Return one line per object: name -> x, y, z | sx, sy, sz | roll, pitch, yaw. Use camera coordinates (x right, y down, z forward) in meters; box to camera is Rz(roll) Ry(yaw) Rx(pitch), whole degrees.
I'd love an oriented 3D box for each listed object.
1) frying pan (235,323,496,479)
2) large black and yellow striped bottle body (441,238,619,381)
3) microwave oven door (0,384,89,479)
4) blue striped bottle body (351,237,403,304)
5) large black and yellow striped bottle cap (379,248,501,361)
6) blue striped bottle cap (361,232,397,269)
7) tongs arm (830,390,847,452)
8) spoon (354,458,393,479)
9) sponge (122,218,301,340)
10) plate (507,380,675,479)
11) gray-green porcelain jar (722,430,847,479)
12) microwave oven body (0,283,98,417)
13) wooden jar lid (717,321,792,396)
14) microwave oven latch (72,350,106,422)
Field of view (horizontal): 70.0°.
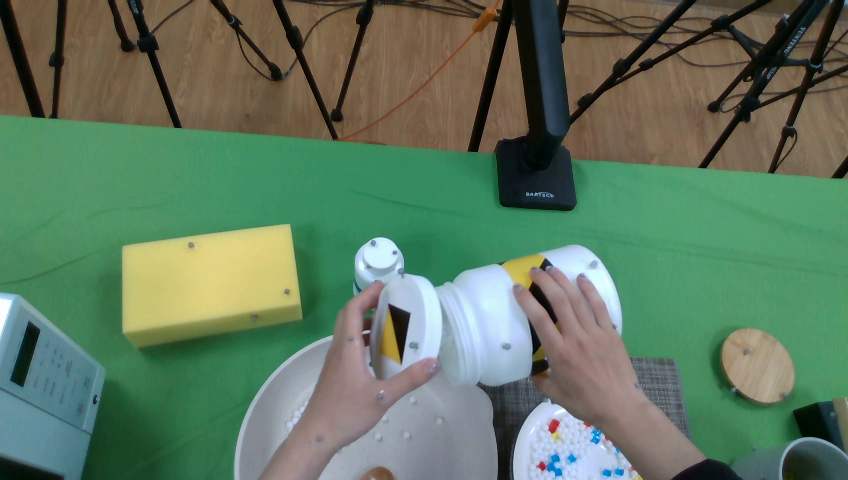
frying pan -> -0.023, 0.324, 0.656 | 0.307, 0.103, 0.483 | -18, 60, -16
large black and yellow striped bottle body -> 0.104, 0.079, 0.672 | 0.184, 0.131, 0.129 | -14, 66, -12
microwave oven door -> -0.383, 0.316, 0.509 | 0.039, 0.245, 0.353 | 4, 63, -7
blue striped bottle body -> -0.062, 0.035, 0.788 | 0.063, 0.121, 0.062 | 4, 63, -7
large black and yellow striped bottle cap -> 0.015, 0.059, 0.563 | 0.115, 0.019, 0.114 | 9, 53, -12
blue striped bottle cap -> -0.055, 0.012, 0.742 | 0.044, 0.021, 0.044 | 3, 60, -5
tongs arm -> 0.565, 0.376, 0.732 | 0.051, 0.026, 0.382 | -1, 74, -11
spoon -> -0.098, 0.309, 0.659 | 0.041, 0.022, 0.193 | 43, 39, 10
sponge -> -0.270, 0.049, 0.782 | 0.207, 0.061, 0.117 | -9, 66, -14
plate -> 0.203, 0.280, 0.750 | 0.209, 0.038, 0.207 | 3, 64, -6
gray-green porcelain jar -> 0.437, 0.294, 0.734 | 0.106, 0.127, 0.105 | 4, 63, -7
microwave oven body -> -0.527, 0.271, 0.515 | 0.327, 0.261, 0.438 | 4, 64, -7
wooden jar lid -> 0.466, 0.169, 0.861 | 0.108, 0.021, 0.107 | 3, 65, -7
microwave oven latch -> -0.390, 0.167, 0.697 | 0.030, 0.029, 0.078 | 4, 64, -7
